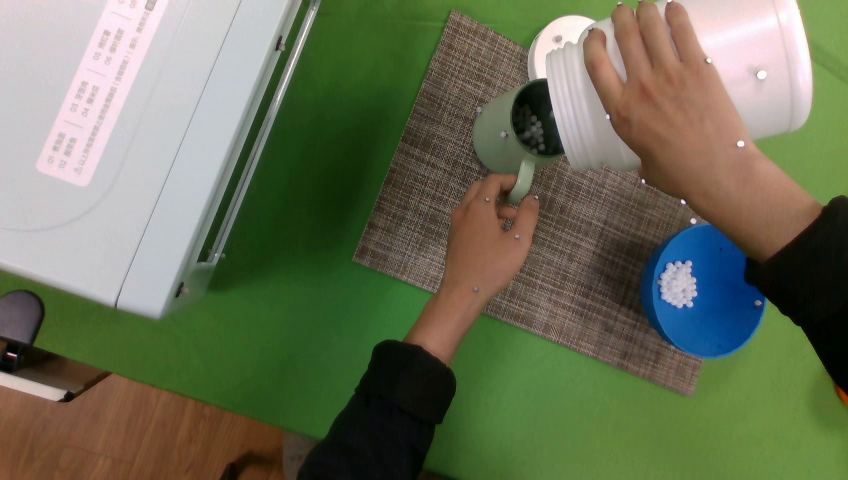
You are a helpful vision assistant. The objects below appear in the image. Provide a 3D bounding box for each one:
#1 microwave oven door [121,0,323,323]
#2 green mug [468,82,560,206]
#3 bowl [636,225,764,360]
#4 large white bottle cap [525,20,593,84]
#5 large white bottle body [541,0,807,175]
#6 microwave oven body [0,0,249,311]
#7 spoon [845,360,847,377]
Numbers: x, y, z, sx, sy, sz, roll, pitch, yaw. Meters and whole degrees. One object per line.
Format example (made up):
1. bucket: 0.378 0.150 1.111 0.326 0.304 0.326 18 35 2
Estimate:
1. microwave oven door: -0.142 -0.113 0.490 0.039 0.243 0.355 21 83 -13
2. green mug: 0.099 -0.097 0.639 0.093 0.104 0.125 14 84 -15
3. bowl: 0.304 0.060 0.704 0.152 0.076 0.151 1 88 -14
4. large white bottle cap: 0.174 -0.197 0.707 0.115 0.018 0.114 1 88 -16
5. large white bottle body: 0.202 -0.130 0.511 0.184 0.131 0.130 -13 92 21
6. microwave oven body: -0.261 -0.205 0.465 0.327 0.259 0.440 22 84 -14
7. spoon: 0.618 0.219 0.754 0.041 0.191 0.022 -30 140 -18
